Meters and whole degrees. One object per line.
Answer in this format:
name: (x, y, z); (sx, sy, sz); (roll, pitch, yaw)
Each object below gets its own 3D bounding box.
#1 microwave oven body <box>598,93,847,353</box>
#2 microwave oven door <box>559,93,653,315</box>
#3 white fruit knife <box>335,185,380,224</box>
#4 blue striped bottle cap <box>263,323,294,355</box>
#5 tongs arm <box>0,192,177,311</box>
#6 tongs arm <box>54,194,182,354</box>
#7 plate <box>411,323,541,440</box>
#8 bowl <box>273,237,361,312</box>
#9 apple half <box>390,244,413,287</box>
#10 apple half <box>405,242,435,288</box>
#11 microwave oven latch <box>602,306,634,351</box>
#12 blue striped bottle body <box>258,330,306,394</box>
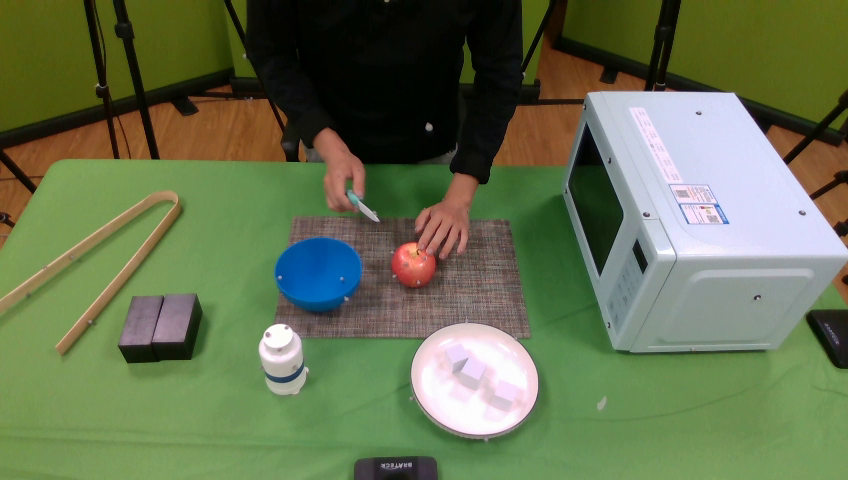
microwave oven body: (0.475, -0.041, 1.109); (0.326, 0.261, 0.438); (-1, 45, -4)
microwave oven door: (0.327, -0.074, 1.123); (0.039, 0.245, 0.353); (-1, 46, -5)
white fruit knife: (-0.119, -0.065, 1.083); (0.016, 0.027, 0.206); (-26, 30, -17)
blue striped bottle cap: (-0.217, 0.146, 0.900); (0.044, 0.021, 0.044); (1, 46, -1)
tongs arm: (-0.618, 0.019, 1.123); (0.050, 0.026, 0.384); (23, 47, 17)
tongs arm: (-0.543, 0.048, 1.107); (0.028, 0.028, 0.385); (11, 45, 10)
plate: (0.082, 0.228, 0.976); (0.208, 0.039, 0.206); (2, 45, -2)
bowl: (-0.186, 0.075, 1.069); (0.151, 0.077, 0.150); (3, 46, -3)
apple half: (-0.045, 0.051, 1.105); (0.033, 0.081, 0.080); (-6, 46, -17)
apple half: (-0.008, 0.046, 1.116); (0.053, 0.075, 0.080); (-5, 42, -18)
microwave oven latch: (0.332, 0.153, 1.044); (0.030, 0.029, 0.078); (-1, 45, -4)
blue striped bottle body: (-0.220, 0.182, 0.937); (0.063, 0.121, 0.062); (2, 45, -2)
